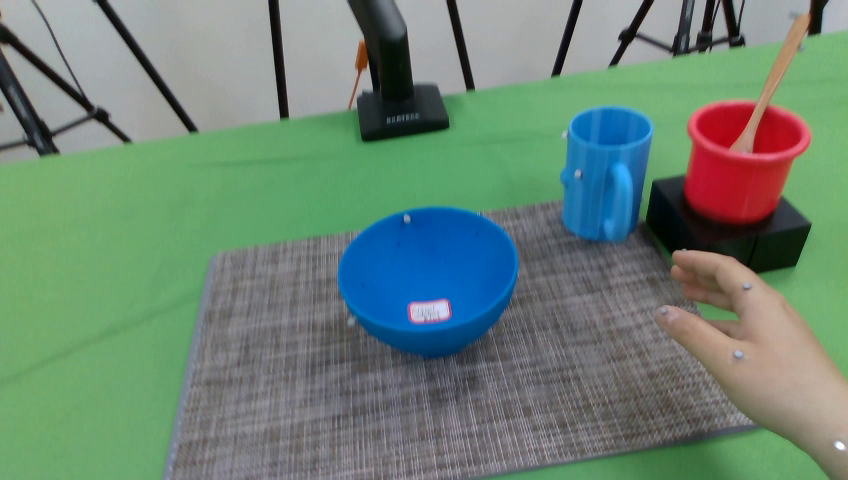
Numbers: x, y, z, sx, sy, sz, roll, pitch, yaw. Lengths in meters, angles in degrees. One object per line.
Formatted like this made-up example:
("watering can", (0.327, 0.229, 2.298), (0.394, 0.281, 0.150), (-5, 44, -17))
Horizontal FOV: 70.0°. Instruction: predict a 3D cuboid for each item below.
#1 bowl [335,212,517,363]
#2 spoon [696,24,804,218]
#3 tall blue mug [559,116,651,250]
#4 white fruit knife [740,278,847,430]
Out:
("bowl", (0.005, 0.052, 0.522), (0.151, 0.077, 0.150), (-4, 40, 4))
("spoon", (0.300, -0.108, 0.547), (0.041, 0.022, 0.194), (26, 94, 36))
("tall blue mug", (0.185, -0.049, 0.593), (0.078, 0.109, 0.106), (-22, 42, -18))
("white fruit knife", (0.307, 0.098, 0.480), (0.027, 0.016, 0.205), (13, 34, -19))
